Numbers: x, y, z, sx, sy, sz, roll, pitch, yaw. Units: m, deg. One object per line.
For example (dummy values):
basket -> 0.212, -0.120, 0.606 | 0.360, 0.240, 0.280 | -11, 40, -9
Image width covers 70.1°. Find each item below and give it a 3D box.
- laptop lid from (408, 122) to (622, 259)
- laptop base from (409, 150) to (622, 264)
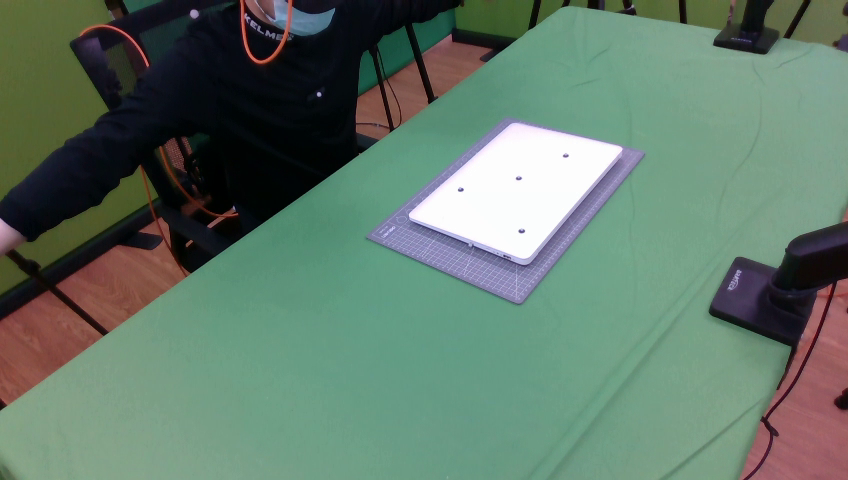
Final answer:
laptop lid -> 0.165, -0.105, 1.050 | 0.240, 0.013, 0.358 | 22, 48, 33
laptop base -> 0.168, -0.095, 1.057 | 0.233, 0.023, 0.355 | 20, 47, 33
